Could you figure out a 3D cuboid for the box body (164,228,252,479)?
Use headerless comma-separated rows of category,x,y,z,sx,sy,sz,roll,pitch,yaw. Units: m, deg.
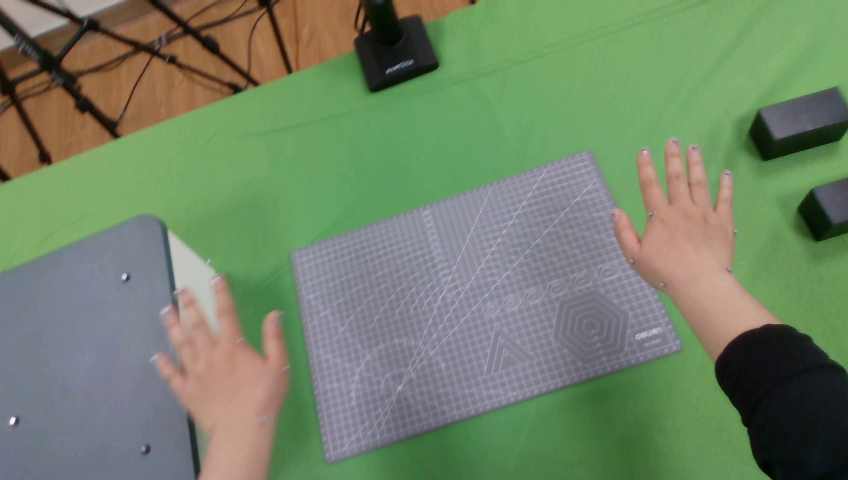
box body,-0.378,0.189,0.744,0.254,0.162,0.360,-21,64,2

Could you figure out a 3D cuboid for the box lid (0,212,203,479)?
box lid,-0.392,0.156,0.678,0.263,0.015,0.368,-22,65,2
